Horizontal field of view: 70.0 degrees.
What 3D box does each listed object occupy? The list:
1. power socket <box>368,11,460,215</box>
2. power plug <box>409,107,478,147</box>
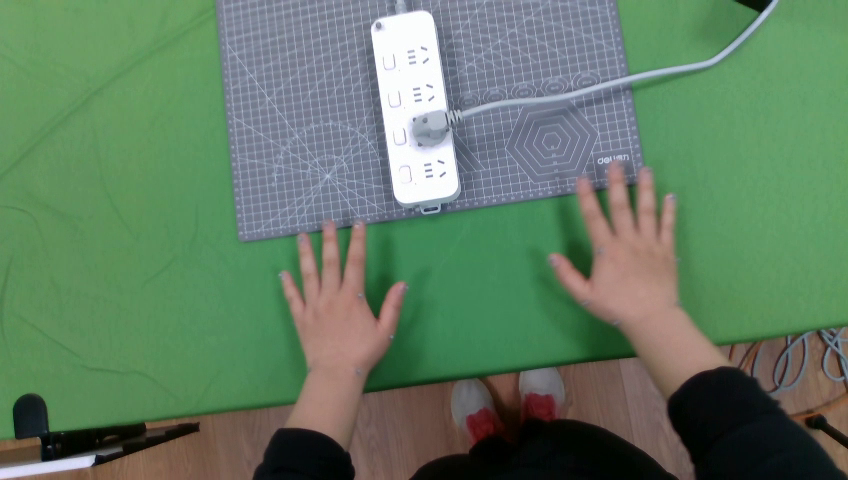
[{"bbox_3d":[-0.011,-0.141,0.657,0.072,0.033,0.226,-9,83,5],"label":"power socket"},{"bbox_3d":[0.020,-0.115,0.632,0.072,0.053,0.035,2,85,5],"label":"power plug"}]
